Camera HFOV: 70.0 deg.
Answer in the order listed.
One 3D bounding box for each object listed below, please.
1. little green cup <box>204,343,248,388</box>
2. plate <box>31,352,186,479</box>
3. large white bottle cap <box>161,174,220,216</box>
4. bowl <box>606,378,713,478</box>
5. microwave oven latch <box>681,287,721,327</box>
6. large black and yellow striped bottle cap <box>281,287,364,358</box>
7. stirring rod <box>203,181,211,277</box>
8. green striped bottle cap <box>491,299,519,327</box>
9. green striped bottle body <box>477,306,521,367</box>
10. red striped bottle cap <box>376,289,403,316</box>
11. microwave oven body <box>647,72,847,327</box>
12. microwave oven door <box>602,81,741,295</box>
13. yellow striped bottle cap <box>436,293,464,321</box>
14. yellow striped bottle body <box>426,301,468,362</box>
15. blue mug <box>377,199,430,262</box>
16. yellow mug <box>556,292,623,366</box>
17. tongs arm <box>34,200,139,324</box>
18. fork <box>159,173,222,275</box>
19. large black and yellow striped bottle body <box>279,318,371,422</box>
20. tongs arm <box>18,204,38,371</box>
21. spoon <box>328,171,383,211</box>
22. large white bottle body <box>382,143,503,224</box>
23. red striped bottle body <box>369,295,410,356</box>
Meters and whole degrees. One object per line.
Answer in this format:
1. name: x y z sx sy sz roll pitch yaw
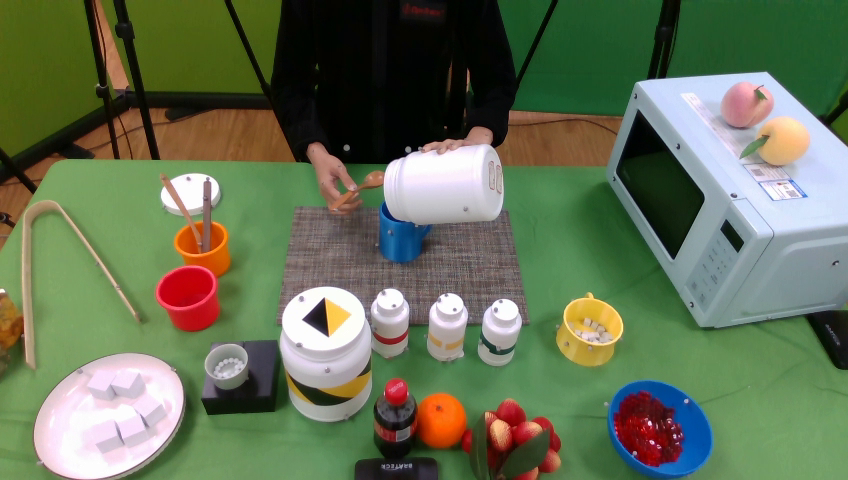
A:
1. little green cup: -0.294 0.190 0.909 0.061 0.039 0.061 1 48 0
2. plate: -0.459 0.262 0.898 0.209 0.038 0.208 2 45 -2
3. large white bottle cap: -0.483 -0.095 1.253 0.115 0.018 0.114 2 46 -2
4. bowl: 0.340 0.292 0.906 0.151 0.077 0.150 2 46 -2
5. microwave oven latch: 0.494 0.119 1.087 0.030 0.029 0.078 -6 46 -9
6. large black and yellow striped bottle cap: -0.141 0.112 0.847 0.115 0.019 0.114 5 45 -4
7. stirring rod: -0.396 -0.021 1.107 0.014 0.006 0.176 -1 89 -1
8. green striped bottle cap: 0.128 0.115 0.958 0.044 0.020 0.044 1 47 -1
9. green striped bottle body: 0.124 0.151 0.995 0.063 0.120 0.063 2 46 -2
10. red striped bottle cap: -0.054 0.098 0.958 0.044 0.018 0.044 0 48 1
11. microwave oven body: 0.607 -0.089 1.164 0.326 0.261 0.438 -7 46 -10
12. microwave oven door: 0.456 -0.107 1.162 0.039 0.245 0.353 -7 47 -11
13. yellow striped bottle cap: 0.041 0.106 0.959 0.044 0.019 0.044 -1 50 1
14. yellow striped bottle body: 0.037 0.142 0.996 0.063 0.121 0.062 2 46 -2
15. blue mug: -0.033 -0.029 1.159 0.116 0.106 0.082 -22 52 -23
16. yellow mug: 0.285 0.145 1.051 0.100 0.064 0.130 7 45 3
17. tongs arm: -0.622 0.034 1.105 0.051 0.026 0.382 -32 56 -25
18. fork: -0.427 -0.029 1.103 0.028 0.018 0.207 -31 99 -31
19. large black and yellow striped bottle body: -0.145 0.173 0.907 0.131 0.185 0.130 2 46 -2
20. tongs arm: -0.698 0.070 1.069 0.028 0.028 0.385 -21 51 -13
21. spoon: -0.126 -0.093 1.122 0.041 0.022 0.193 21 28 16
22. large white bottle body: 0.032 -0.094 1.050 0.184 0.131 0.130 -2 42 24
23. red striped bottle body: -0.059 0.135 0.997 0.063 0.120 0.062 6 49 -7
